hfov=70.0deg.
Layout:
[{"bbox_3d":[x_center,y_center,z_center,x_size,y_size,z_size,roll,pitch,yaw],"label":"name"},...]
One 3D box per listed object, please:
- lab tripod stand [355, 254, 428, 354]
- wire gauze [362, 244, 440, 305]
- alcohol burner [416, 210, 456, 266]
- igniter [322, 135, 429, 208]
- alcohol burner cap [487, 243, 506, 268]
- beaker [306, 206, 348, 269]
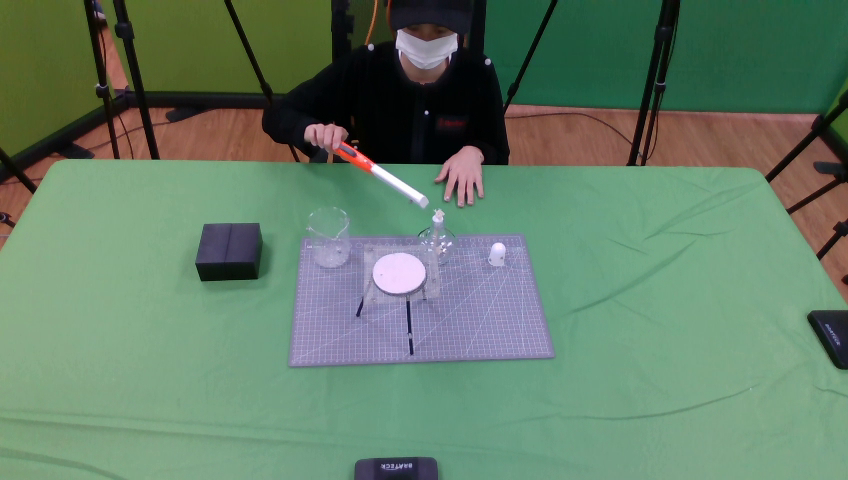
[{"bbox_3d":[-0.046,0.100,1.017,0.148,0.132,0.147,1,47,-1],"label":"lab tripod stand"},{"bbox_3d":[-0.038,0.051,0.971,0.121,0.011,0.124,-1,46,-4],"label":"wire gauze"},{"bbox_3d":[0.023,-0.009,1.141,0.078,0.120,0.077,2,44,-2],"label":"alcohol burner"},{"bbox_3d":[-0.099,-0.134,1.142,0.275,0.057,0.025,34,80,29],"label":"igniter"},{"bbox_3d":[0.141,0.027,1.166,0.034,0.048,0.033,2,45,-2],"label":"alcohol burner cap"},{"bbox_3d":[-0.176,0.001,1.126,0.074,0.101,0.083,-13,49,-16],"label":"beaker"}]
